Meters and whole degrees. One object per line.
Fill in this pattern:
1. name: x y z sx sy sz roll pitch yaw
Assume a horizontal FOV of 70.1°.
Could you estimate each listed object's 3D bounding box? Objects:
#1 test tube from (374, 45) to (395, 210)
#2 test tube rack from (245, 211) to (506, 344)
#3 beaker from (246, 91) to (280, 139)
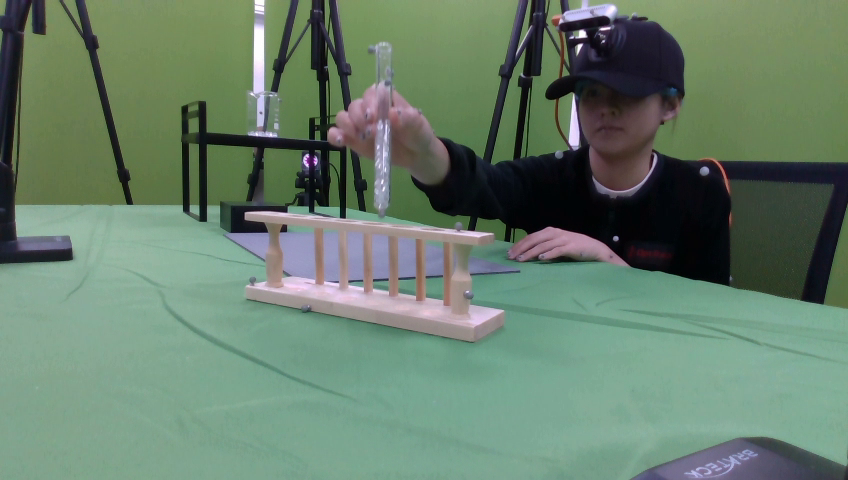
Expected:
1. test tube: -0.035 -0.101 0.538 0.017 0.150 0.017 1 -7 0
2. test tube rack: -0.049 0.025 0.547 0.241 0.085 0.067 7 8 28
3. beaker: -0.361 -0.279 1.351 0.074 0.100 0.084 3 8 1
